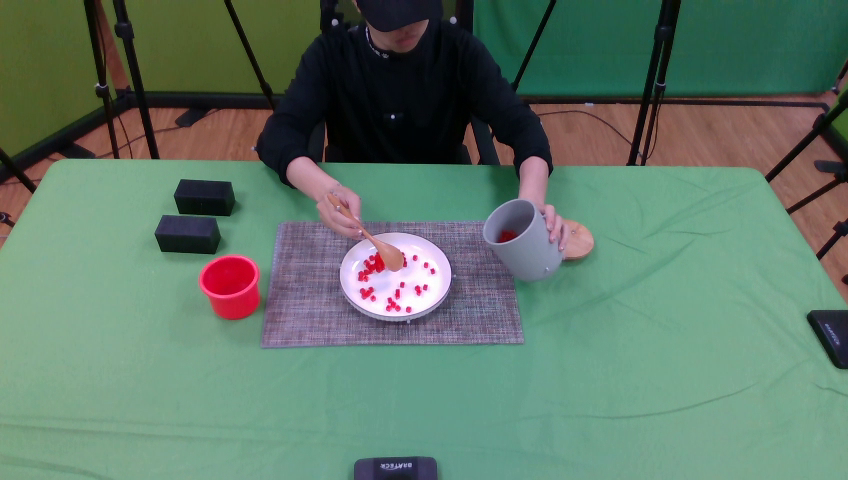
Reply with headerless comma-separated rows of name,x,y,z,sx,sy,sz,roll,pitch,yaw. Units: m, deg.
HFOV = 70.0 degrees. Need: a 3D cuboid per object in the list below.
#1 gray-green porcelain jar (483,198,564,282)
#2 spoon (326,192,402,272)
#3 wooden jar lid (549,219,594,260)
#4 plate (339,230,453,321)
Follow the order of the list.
gray-green porcelain jar,0.181,0.005,1.073,0.106,0.127,0.105,-26,38,23
spoon,-0.105,-0.013,1.063,0.194,0.021,0.041,44,63,-19
wooden jar lid,0.287,0.001,1.218,0.108,0.021,0.107,1,46,-1
plate,-0.051,0.067,1.111,0.208,0.039,0.206,2,46,-2
